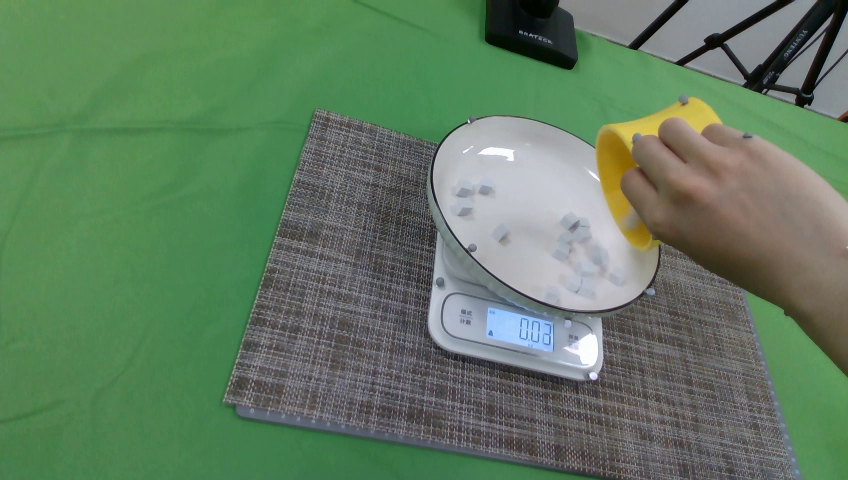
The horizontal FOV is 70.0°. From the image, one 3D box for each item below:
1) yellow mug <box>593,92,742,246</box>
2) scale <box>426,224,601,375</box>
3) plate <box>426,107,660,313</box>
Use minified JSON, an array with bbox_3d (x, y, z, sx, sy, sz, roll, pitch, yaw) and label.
[{"bbox_3d":[0.177,-0.052,0.437,0.064,0.131,0.100,-20,91,0],"label":"yellow mug"},{"bbox_3d":[0.081,0.011,0.523,0.149,0.032,0.199,15,51,-11],"label":"scale"},{"bbox_3d":[0.098,-0.026,0.513,0.210,0.038,0.207,11,52,-14],"label":"plate"}]
